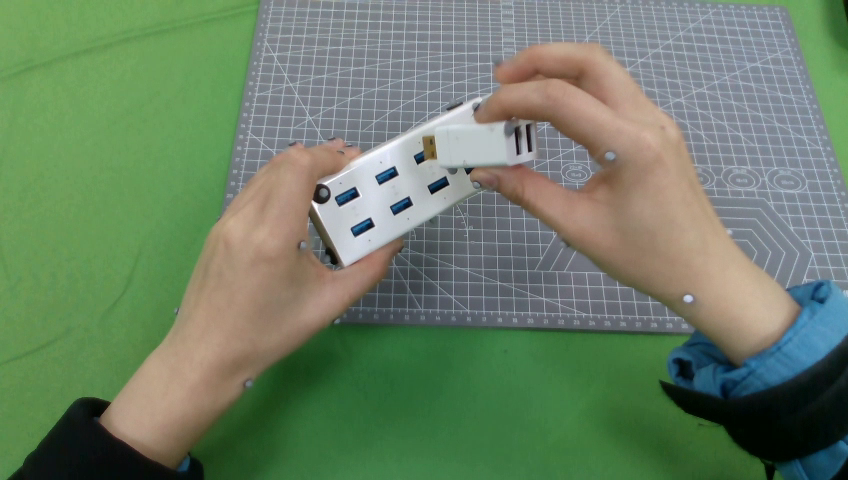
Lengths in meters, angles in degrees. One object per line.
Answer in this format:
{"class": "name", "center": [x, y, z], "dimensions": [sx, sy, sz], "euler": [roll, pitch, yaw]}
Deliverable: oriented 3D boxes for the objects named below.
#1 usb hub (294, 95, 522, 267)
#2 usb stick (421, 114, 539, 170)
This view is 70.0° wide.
{"class": "usb hub", "center": [-0.006, -0.036, 0.342], "dimensions": [0.125, 0.025, 0.050], "euler": [-30, 103, -19]}
{"class": "usb stick", "center": [0.024, -0.047, 0.294], "dimensions": [0.027, 0.059, 0.021], "euler": [-23, 108, -43]}
